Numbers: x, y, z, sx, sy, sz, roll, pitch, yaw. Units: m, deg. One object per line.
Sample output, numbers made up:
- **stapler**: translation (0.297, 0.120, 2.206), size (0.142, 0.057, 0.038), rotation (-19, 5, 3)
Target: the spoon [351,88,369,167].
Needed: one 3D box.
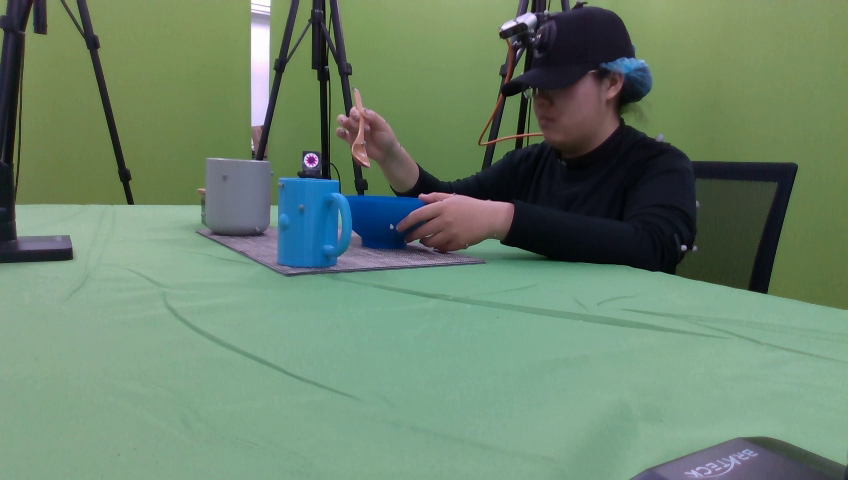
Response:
- **spoon**: translation (-0.115, -0.204, 1.078), size (0.021, 0.193, 0.042), rotation (-29, -40, 33)

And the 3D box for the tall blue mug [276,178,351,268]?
- **tall blue mug**: translation (-0.134, -0.022, 0.766), size (0.107, 0.108, 0.078), rotation (4, 6, 12)

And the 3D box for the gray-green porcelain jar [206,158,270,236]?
- **gray-green porcelain jar**: translation (-0.317, -0.074, 1.031), size (0.106, 0.126, 0.106), rotation (3, 7, 0)

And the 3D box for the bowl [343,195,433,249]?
- **bowl**: translation (-0.063, -0.030, 0.971), size (0.151, 0.077, 0.151), rotation (3, 7, 0)

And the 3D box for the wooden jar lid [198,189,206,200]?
- **wooden jar lid**: translation (-0.382, -0.088, 1.175), size (0.108, 0.020, 0.108), rotation (3, 8, 0)
